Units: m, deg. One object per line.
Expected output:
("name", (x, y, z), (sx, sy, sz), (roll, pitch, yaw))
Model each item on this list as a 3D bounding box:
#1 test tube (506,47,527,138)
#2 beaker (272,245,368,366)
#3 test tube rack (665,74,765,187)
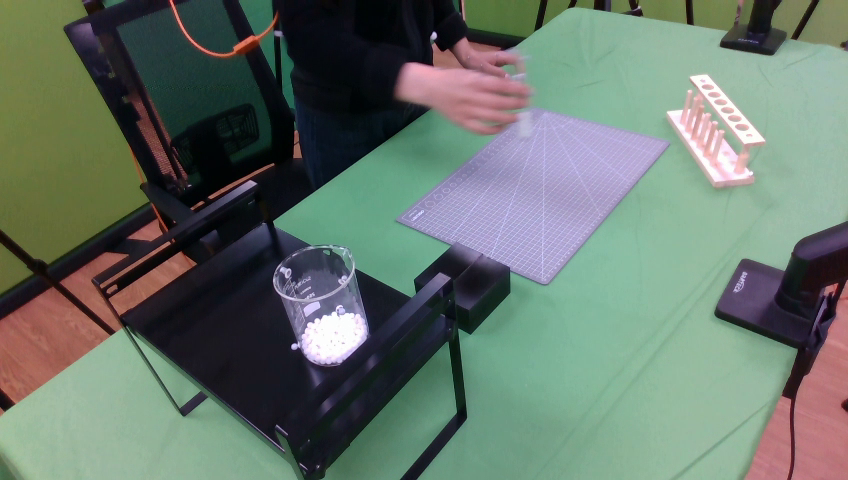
("test tube", (0.134, -0.208, 0.870), (0.017, 0.151, 0.017), (-9, 46, 10))
("beaker", (-0.093, 0.064, 0.578), (0.073, 0.101, 0.084), (21, 48, 29))
("test tube rack", (0.512, -0.202, 1.082), (0.067, 0.085, 0.241), (-6, 41, 2))
